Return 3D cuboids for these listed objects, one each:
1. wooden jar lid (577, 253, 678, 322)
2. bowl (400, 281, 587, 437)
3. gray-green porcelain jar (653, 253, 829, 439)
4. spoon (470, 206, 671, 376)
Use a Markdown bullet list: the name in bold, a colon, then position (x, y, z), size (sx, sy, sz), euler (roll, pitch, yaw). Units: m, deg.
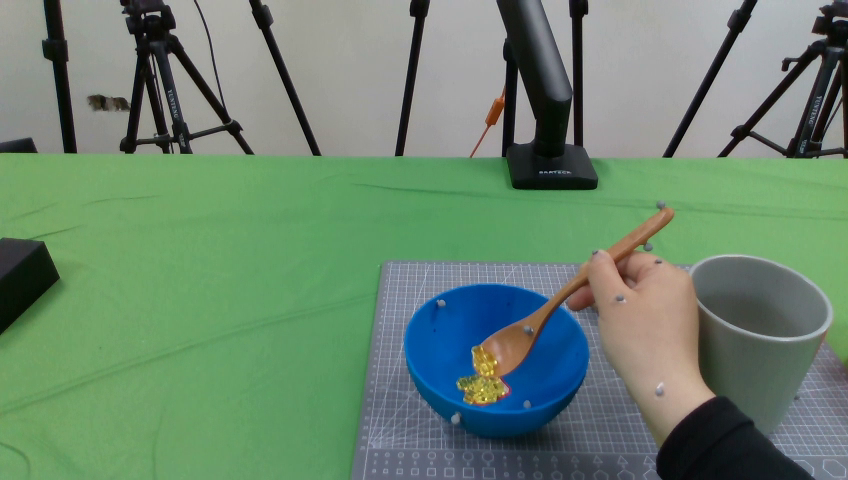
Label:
- **wooden jar lid**: position (0.217, 0.051, 0.651), size (0.108, 0.021, 0.107), euler (0, 34, 0)
- **bowl**: position (0.056, 0.111, 0.512), size (0.151, 0.077, 0.150), euler (0, 35, 0)
- **gray-green porcelain jar**: position (0.252, 0.091, 0.500), size (0.106, 0.127, 0.105), euler (0, 35, 0)
- **spoon**: position (0.108, 0.041, 0.461), size (0.022, 0.194, 0.041), euler (30, 25, -31)
